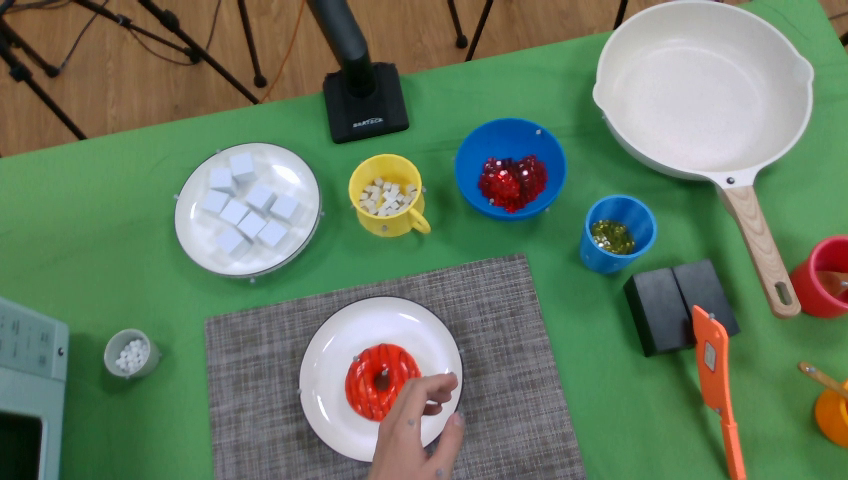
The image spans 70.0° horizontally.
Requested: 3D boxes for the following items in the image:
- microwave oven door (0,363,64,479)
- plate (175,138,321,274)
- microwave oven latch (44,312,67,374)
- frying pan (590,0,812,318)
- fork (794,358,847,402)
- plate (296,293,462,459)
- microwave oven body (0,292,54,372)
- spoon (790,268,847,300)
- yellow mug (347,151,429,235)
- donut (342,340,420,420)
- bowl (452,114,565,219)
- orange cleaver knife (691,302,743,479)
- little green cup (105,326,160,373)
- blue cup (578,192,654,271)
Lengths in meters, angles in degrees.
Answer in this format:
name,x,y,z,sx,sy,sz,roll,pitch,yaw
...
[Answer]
name,x,y,z,sx,sy,sz,roll,pitch,yaw
microwave oven door,-0.471,0.302,0.623,0.039,0.245,0.353,-9,69,0
plate,-0.248,-0.047,0.870,0.207,0.039,0.206,-1,69,3
microwave oven latch,-0.492,0.136,0.796,0.030,0.030,0.078,-5,70,1
frying pan,0.396,-0.123,0.821,0.307,0.103,0.483,-7,61,2
fork,0.469,0.172,0.681,0.209,0.018,0.028,32,68,-31
plate,-0.056,0.171,0.771,0.209,0.038,0.207,-1,70,3
microwave oven body,-0.620,0.286,0.644,0.326,0.262,0.438,-8,70,0
spoon,0.550,0.038,0.730,0.193,0.022,0.041,-22,59,43
yellow mug,-0.042,-0.056,0.845,0.130,0.064,0.100,39,77,15
donut,-0.054,0.175,0.757,0.099,0.048,0.098,-1,73,4
bowl,0.115,-0.089,0.841,0.151,0.077,0.150,-1,70,3
orange cleaver knife,0.347,0.179,0.723,0.012,0.077,0.212,-12,98,-1
little green cup,-0.384,0.147,0.803,0.061,0.039,0.061,-1,71,4
blue cup,0.240,-0.003,0.787,0.092,0.101,0.092,-1,70,2
